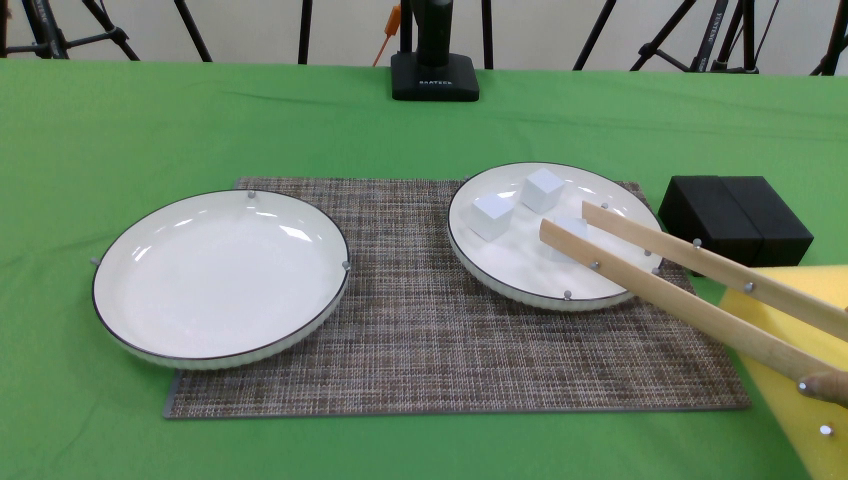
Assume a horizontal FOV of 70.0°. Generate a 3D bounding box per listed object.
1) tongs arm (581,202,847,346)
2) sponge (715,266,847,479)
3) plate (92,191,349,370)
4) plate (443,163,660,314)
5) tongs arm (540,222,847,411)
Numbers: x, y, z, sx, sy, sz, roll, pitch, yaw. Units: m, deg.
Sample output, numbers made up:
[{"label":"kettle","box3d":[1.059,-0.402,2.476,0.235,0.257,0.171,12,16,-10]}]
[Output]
[{"label":"tongs arm","box3d":[0.260,0.054,0.450,0.051,0.027,0.381,-26,39,-33]},{"label":"sponge","box3d":[0.333,0.113,0.469,0.118,0.061,0.204,-3,42,-7]},{"label":"plate","box3d":[-0.169,0.033,0.527,0.209,0.038,0.207,3,41,-2]},{"label":"plate","box3d":[0.121,-0.001,0.592,0.208,0.039,0.205,3,41,-2]},{"label":"tongs arm","box3d":[0.232,0.067,0.433,0.028,0.028,0.383,-22,37,-34]}]
